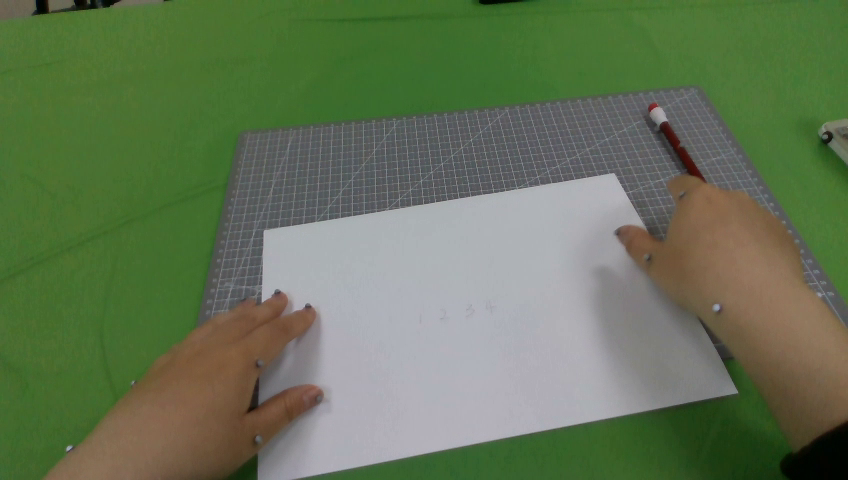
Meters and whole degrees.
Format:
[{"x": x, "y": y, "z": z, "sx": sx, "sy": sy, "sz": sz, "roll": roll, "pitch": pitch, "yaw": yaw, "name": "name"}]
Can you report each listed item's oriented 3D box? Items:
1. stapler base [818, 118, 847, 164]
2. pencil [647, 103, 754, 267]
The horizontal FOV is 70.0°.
[{"x": 0.376, "y": -0.063, "z": 0.491, "sx": 0.041, "sy": 0.025, "sz": 0.129, "roll": -11, "pitch": 49, "yaw": -2, "name": "stapler base"}, {"x": 0.224, "y": -0.052, "z": 0.500, "sx": 0.012, "sy": 0.012, "sz": 0.192, "roll": -9, "pitch": 50, "yaw": -3, "name": "pencil"}]
